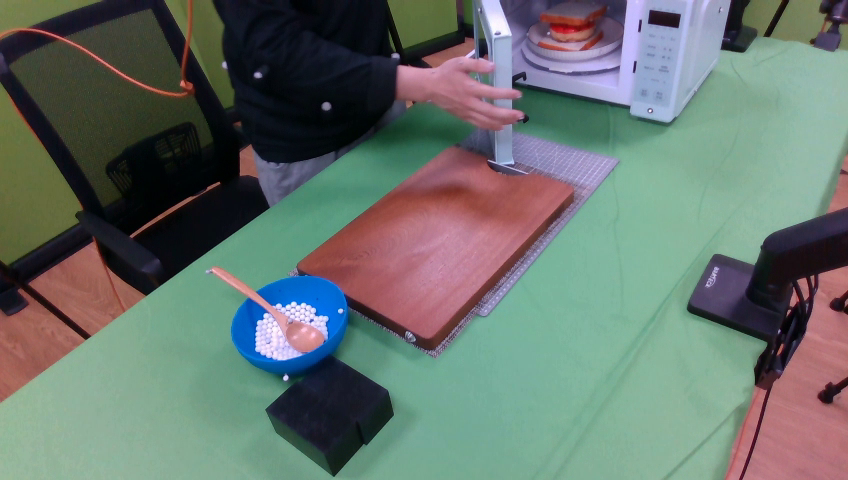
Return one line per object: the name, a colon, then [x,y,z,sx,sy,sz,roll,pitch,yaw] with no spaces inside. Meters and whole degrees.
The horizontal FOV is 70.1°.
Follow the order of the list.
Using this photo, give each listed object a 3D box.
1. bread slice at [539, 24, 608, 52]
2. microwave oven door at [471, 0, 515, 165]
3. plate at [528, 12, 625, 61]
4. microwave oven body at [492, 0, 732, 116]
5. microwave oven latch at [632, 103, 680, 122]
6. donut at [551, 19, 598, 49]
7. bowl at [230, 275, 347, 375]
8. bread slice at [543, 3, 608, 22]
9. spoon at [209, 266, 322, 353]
bread slice: [0.336,-0.448,1.335,0.132,0.019,0.104,-27,43,-19]
microwave oven door: [0.127,-0.341,1.153,0.039,0.245,0.354,-6,40,2]
plate: [0.334,-0.447,1.330,0.207,0.039,0.206,-6,43,6]
microwave oven body: [0.377,-0.463,1.267,0.438,0.261,0.327,21,48,30]
microwave oven latch: [0.443,-0.249,1.157,0.078,0.029,0.030,20,48,30]
donut: [0.322,-0.442,1.294,0.099,0.048,0.098,-3,44,3]
bowl: [-0.171,0.125,0.802,0.151,0.077,0.150,-4,40,4]
bread slice: [0.325,-0.484,1.278,0.106,0.018,0.135,19,35,29]
spoon: [-0.214,0.088,0.806,0.193,0.021,0.042,37,55,11]
